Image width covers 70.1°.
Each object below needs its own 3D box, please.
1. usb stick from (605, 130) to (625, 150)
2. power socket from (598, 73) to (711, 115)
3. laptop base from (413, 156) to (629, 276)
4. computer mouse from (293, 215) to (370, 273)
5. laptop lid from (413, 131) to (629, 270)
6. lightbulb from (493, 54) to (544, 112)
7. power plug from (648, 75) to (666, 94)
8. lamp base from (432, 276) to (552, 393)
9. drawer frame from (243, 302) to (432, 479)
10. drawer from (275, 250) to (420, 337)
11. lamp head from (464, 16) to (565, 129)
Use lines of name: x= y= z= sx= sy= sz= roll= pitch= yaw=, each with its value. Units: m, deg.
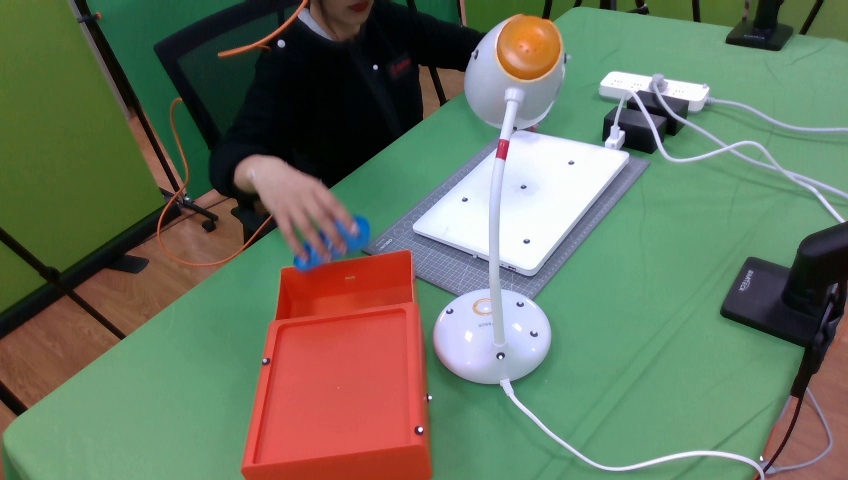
usb stick: x=0.348 y=-0.175 z=1.110 sx=0.021 sy=0.027 sz=0.059 roll=19 pitch=52 yaw=29
power socket: x=0.470 y=-0.303 z=1.249 sx=0.225 sy=0.033 sz=0.072 roll=20 pitch=49 yaw=30
laptop base: x=0.176 y=-0.077 z=1.048 sx=0.233 sy=0.023 sz=0.355 roll=19 pitch=47 yaw=34
computer mouse: x=-0.129 y=0.002 z=0.833 sx=0.117 sy=0.041 sz=0.062 roll=-27 pitch=22 yaw=4
laptop lid: x=0.172 y=-0.087 z=1.042 sx=0.239 sy=0.013 sz=0.357 roll=21 pitch=48 yaw=34
lightbulb: x=0.109 y=-0.181 z=0.679 sx=0.059 sy=0.059 sz=0.107 roll=-10 pitch=-3 yaw=0
power plug: x=0.457 y=-0.301 z=1.212 sx=0.073 sy=0.053 sz=0.035 roll=-36 pitch=47 yaw=-28
lamp base: x=0.085 y=0.075 z=0.756 sx=0.161 sy=0.181 sz=0.178 roll=-14 pitch=44 yaw=-6
drawer frame: x=-0.096 y=0.185 z=0.738 sx=0.202 sy=0.083 sz=0.212 roll=-8 pitch=40 yaw=1
drawer: x=-0.104 y=0.117 z=0.825 sx=0.194 sy=0.073 sz=0.210 roll=-8 pitch=40 yaw=1
lamp head: x=0.101 y=-0.184 z=0.655 sx=0.112 sy=0.112 sz=0.123 roll=-9 pitch=0 yaw=0
